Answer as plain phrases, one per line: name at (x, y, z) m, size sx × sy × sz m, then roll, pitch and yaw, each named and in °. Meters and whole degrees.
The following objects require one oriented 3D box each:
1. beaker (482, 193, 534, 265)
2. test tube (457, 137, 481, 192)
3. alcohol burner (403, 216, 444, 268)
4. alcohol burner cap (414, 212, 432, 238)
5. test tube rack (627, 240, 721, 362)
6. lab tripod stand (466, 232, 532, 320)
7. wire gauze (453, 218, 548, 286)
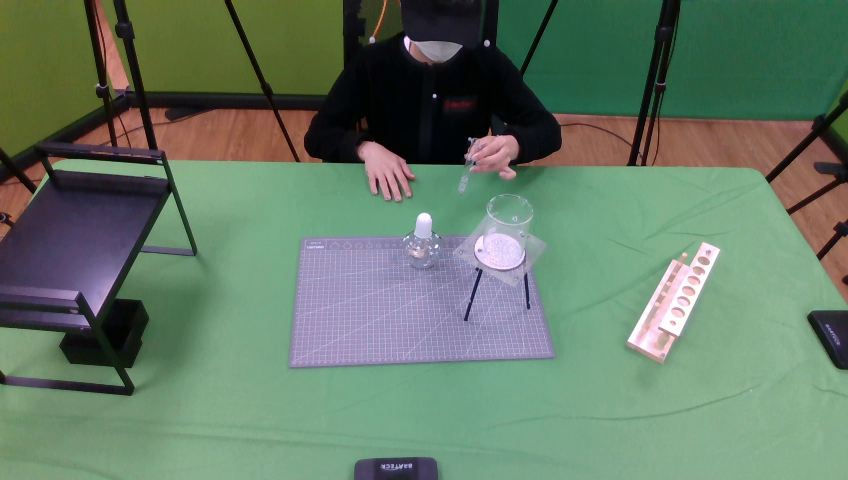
beaker at (0.135, -0.016, 0.979) m, size 0.073 × 0.101 × 0.084 m, roll 35°, pitch 52°, yaw 28°
test tube at (0.083, -0.138, 1.141) m, size 0.017 × 0.151 × 0.017 m, roll 5°, pitch 56°, yaw -7°
alcohol burner at (-0.001, -0.004, 1.132) m, size 0.078 × 0.120 × 0.077 m, roll 1°, pitch 46°, yaw 0°
alcohol burner cap at (0.000, -0.030, 1.107) m, size 0.034 × 0.048 × 0.033 m, roll 4°, pitch 41°, yaw -3°
test tube rack at (0.452, 0.098, 1.087) m, size 0.066 × 0.085 × 0.242 m, roll 28°, pitch 51°, yaw 22°
lab tripod stand at (0.125, 0.059, 1.065) m, size 0.148 × 0.132 × 0.147 m, roll 1°, pitch 45°, yaw 0°
wire gauze at (0.129, 0.014, 1.018) m, size 0.124 × 0.011 × 0.121 m, roll 26°, pitch 47°, yaw 25°
